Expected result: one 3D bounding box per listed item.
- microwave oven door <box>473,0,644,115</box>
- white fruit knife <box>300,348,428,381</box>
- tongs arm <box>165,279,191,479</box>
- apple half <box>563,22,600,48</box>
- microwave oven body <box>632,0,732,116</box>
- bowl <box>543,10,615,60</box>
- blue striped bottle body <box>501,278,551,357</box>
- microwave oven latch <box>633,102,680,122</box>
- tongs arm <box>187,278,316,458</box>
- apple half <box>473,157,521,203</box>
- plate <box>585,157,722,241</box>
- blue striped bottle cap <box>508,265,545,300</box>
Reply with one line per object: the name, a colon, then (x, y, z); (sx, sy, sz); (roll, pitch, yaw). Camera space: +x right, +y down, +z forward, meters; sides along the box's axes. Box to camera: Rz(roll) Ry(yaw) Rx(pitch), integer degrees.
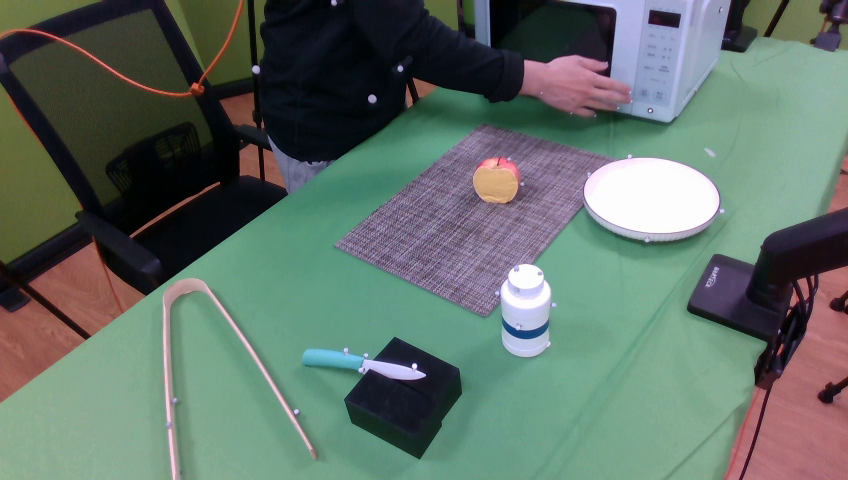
microwave oven door: (0.257, -0.396, 1.199); (0.353, 0.245, 0.039); (21, 48, 29)
white fruit knife: (-0.079, 0.154, 0.748); (0.206, 0.027, 0.016); (1, 20, 34)
tongs arm: (-0.313, 0.182, 0.789); (0.051, 0.026, 0.381); (-20, 40, -13)
apple half: (0.333, -0.445, 1.299); (0.081, 0.033, 0.081); (-15, 38, 13)
microwave oven body: (0.377, -0.463, 1.267); (0.438, 0.261, 0.327); (21, 49, 30)
bowl: (0.335, -0.438, 1.306); (0.151, 0.077, 0.151); (-8, 30, 5)
blue striped bottle body: (0.129, 0.089, 0.769); (0.063, 0.121, 0.063); (-4, 40, 4)
microwave oven latch: (0.444, -0.250, 1.158); (0.078, 0.029, 0.030); (21, 49, 30)
tongs arm: (-0.241, 0.154, 0.815); (0.028, 0.028, 0.384); (-32, 45, -21)
apple half: (0.127, -0.106, 1.030); (0.080, 0.075, 0.053); (4, 36, 19)
plate: (0.367, -0.063, 0.979); (0.207, 0.039, 0.206); (-4, 40, 4)
blue striped bottle cap: (0.125, 0.051, 0.735); (0.044, 0.021, 0.044); (-6, 38, 5)
